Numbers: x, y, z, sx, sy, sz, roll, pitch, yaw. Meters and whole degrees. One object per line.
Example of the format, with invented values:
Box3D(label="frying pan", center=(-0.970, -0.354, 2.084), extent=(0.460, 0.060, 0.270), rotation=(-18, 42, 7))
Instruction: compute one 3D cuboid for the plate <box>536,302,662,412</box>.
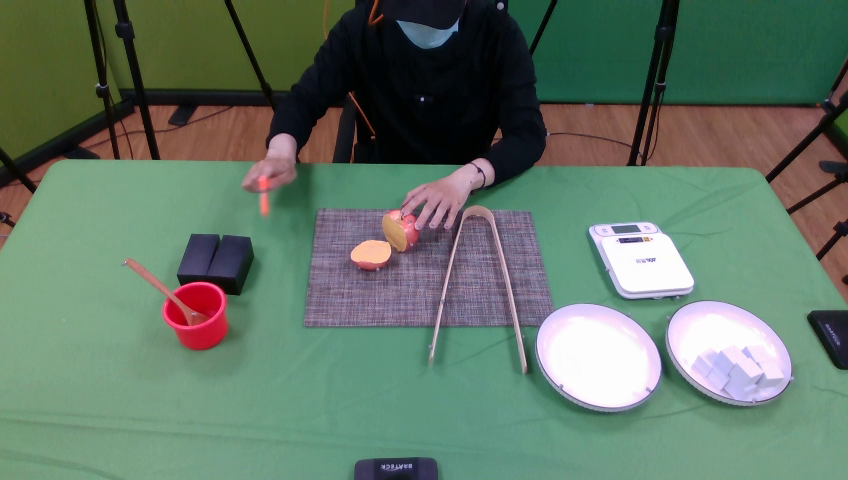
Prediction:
Box3D(label="plate", center=(0.288, 0.197, 1.016), extent=(0.209, 0.038, 0.208), rotation=(2, 46, -2))

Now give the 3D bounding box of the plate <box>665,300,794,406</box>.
Box3D(label="plate", center=(0.513, 0.194, 1.034), extent=(0.208, 0.039, 0.206), rotation=(2, 46, -2))

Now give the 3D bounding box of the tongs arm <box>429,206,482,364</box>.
Box3D(label="tongs arm", center=(0.064, 0.069, 1.124), extent=(0.051, 0.026, 0.382), rotation=(8, 45, 5))

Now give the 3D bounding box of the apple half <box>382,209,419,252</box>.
Box3D(label="apple half", center=(-0.039, -0.022, 1.175), extent=(0.053, 0.075, 0.080), rotation=(-28, 50, -31))

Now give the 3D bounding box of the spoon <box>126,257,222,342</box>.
Box3D(label="spoon", center=(-0.408, 0.096, 0.990), extent=(0.194, 0.021, 0.041), rotation=(50, 53, -18))

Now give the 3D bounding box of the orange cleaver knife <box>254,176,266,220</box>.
Box3D(label="orange cleaver knife", center=(-0.299, -0.081, 1.108), extent=(0.012, 0.077, 0.210), rotation=(-4, 11, -11))

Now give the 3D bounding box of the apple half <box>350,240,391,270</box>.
Box3D(label="apple half", center=(-0.097, 0.033, 1.146), extent=(0.081, 0.033, 0.081), rotation=(-4, 33, 3))

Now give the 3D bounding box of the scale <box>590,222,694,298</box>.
Box3D(label="scale", center=(0.424, 0.031, 1.189), extent=(0.149, 0.032, 0.199), rotation=(-3, 46, -7))

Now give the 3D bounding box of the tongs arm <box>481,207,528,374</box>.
Box3D(label="tongs arm", center=(0.149, 0.077, 1.124), extent=(0.028, 0.028, 0.385), rotation=(-4, 46, -2))
